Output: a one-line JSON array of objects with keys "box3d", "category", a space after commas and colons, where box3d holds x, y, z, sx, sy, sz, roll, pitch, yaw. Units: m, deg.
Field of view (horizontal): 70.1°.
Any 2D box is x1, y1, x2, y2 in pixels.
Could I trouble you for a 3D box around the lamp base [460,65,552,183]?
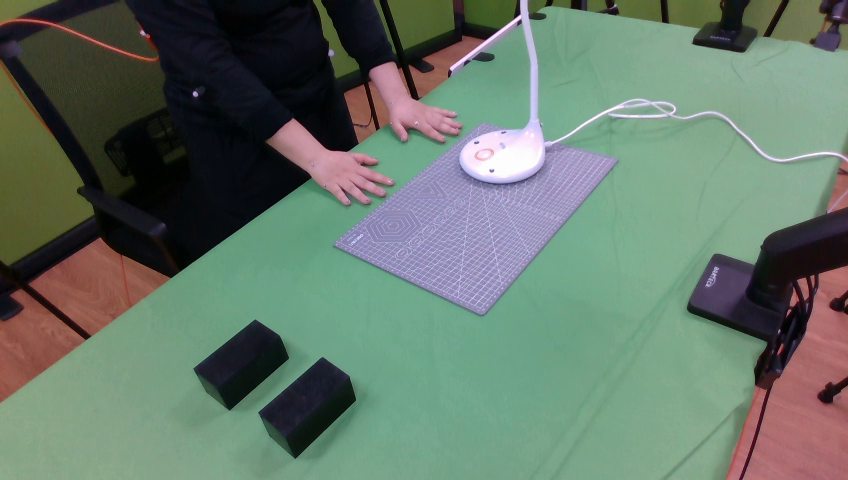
[{"box3d": [0.149, -0.218, 1.078, 0.180, 0.181, 0.159, -19, 41, -17], "category": "lamp base"}]
